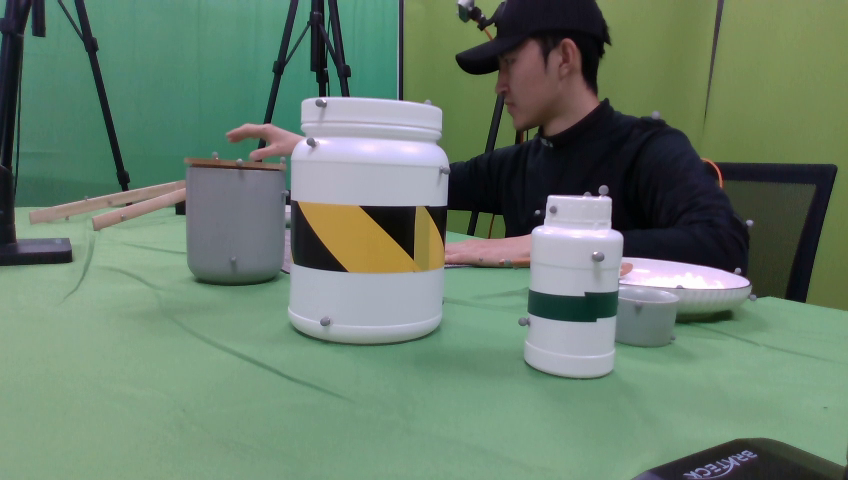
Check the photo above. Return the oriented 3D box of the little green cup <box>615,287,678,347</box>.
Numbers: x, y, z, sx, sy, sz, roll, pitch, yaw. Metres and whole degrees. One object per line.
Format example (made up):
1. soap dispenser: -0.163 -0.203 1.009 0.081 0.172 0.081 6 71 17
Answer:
1. little green cup: 0.180 0.064 0.506 0.061 0.038 0.061 1 9 0

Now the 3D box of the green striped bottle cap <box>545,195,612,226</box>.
1. green striped bottle cap: 0.106 -0.020 0.414 0.044 0.020 0.044 2 4 0

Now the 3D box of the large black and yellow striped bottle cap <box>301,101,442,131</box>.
1. large black and yellow striped bottle cap: -0.042 -0.100 0.491 0.115 0.019 0.115 1 8 0

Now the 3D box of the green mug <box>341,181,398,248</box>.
1. green mug: -0.089 -0.044 0.997 0.093 0.105 0.125 1 7 -8

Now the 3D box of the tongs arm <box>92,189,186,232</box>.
1. tongs arm: -0.534 -0.076 1.221 0.028 0.028 0.388 -2 15 12

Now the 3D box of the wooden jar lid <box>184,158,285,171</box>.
1. wooden jar lid: -0.210 -0.078 0.674 0.108 0.020 0.108 5 6 0

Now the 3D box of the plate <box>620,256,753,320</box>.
1. plate: 0.234 0.049 0.651 0.209 0.038 0.209 2 7 0

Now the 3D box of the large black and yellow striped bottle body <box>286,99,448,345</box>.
1. large black and yellow striped bottle body: -0.047 -0.018 0.501 0.131 0.184 0.130 2 7 0

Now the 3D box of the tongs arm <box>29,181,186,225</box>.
1. tongs arm: -0.609 -0.083 1.245 0.050 0.026 0.386 5 16 23

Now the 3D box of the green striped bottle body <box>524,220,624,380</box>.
1. green striped bottle body: 0.104 0.031 0.422 0.063 0.119 0.063 2 7 0

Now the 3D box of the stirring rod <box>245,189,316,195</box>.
1. stirring rod: -0.350 -0.119 1.490 0.177 0.014 0.006 -2 4 -29

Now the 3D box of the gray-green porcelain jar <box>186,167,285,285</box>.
1. gray-green porcelain jar: -0.212 -0.017 0.682 0.106 0.126 0.106 2 7 0

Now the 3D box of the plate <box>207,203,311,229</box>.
1. plate: -0.342 -0.050 1.259 0.208 0.039 0.207 2 7 0

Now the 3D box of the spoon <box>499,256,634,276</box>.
1. spoon: 0.162 0.027 0.679 0.195 0.021 0.041 8 2 -30
